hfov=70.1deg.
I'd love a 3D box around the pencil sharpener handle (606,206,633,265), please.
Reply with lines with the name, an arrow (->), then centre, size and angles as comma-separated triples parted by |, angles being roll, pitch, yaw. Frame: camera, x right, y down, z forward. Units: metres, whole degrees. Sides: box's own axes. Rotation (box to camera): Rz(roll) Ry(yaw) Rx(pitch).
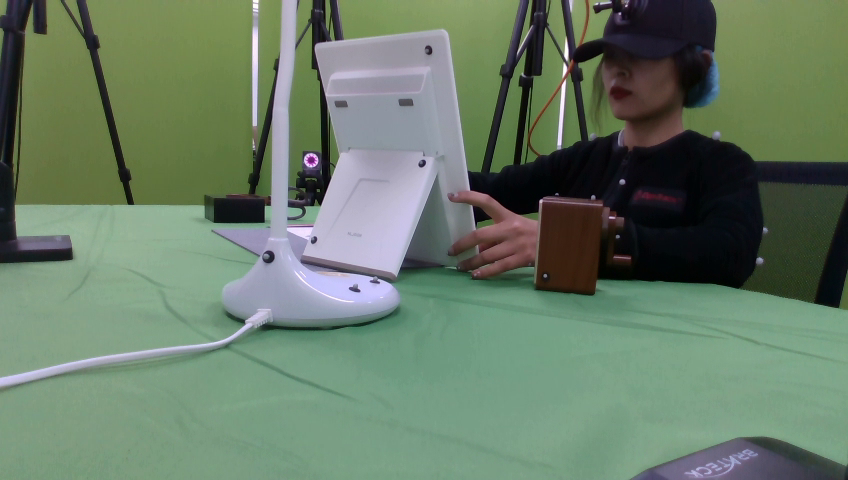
pencil sharpener handle -> 0.222, -0.004, 0.683 | 0.030, 0.068, 0.036 | 5, 21, 16

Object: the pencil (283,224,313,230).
pencil -> -0.221, -0.028, 1.211 | 0.195, 0.012, 0.012 | -5, 10, -34

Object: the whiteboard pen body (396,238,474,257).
whiteboard pen body -> 0.014, 0.012, 0.886 | 0.140, 0.017, 0.017 | 9, 10, 38

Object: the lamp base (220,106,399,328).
lamp base -> -0.101, -0.023, 0.531 | 0.160, 0.180, 0.179 | 4, 10, 10

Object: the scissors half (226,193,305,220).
scissors half -> -0.341, -0.077, 1.309 | 0.176, 0.040, 0.012 | 17, 11, -33

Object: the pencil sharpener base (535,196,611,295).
pencil sharpener base -> 0.172, 0.005, 0.695 | 0.076, 0.107, 0.061 | 5, 7, 16

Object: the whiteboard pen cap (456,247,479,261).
whiteboard pen cap -> 0.060, 0.020, 0.851 | 0.033, 0.018, 0.018 | 8, 10, 37

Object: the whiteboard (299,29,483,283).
whiteboard -> -0.074, -0.082, 0.742 | 0.216, 0.305, 0.144 | 9, 30, 38

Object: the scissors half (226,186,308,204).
scissors half -> -0.336, -0.096, 1.305 | 0.176, 0.040, 0.013 | -3, 16, -29

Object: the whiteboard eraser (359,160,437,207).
whiteboard eraser -> -0.039, -0.077, 0.838 | 0.112, 0.056, 0.042 | 11, 40, 37
